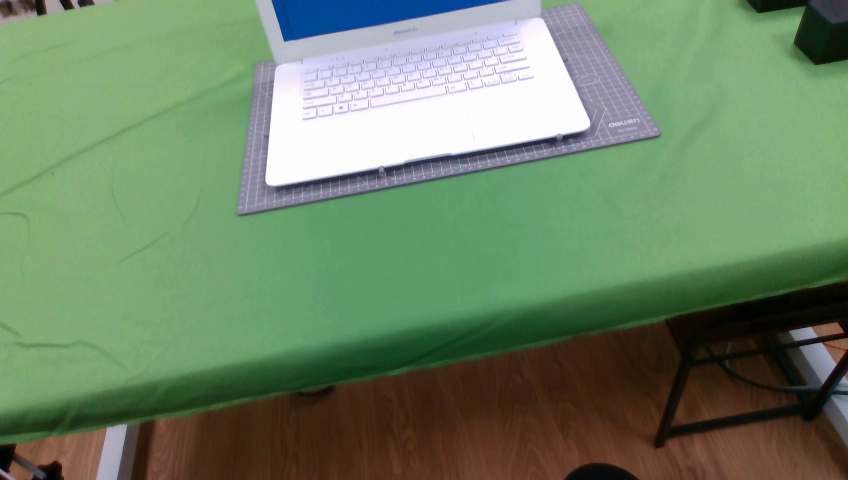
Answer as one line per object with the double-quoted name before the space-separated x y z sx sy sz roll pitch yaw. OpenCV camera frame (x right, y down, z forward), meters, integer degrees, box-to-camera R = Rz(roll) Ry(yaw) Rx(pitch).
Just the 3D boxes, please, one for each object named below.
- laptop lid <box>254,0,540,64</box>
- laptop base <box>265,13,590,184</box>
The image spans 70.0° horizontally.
"laptop lid" -0.040 -0.347 0.718 0.357 0.244 0.013 -11 40 3
"laptop base" -0.008 -0.171 0.716 0.354 0.023 0.233 -10 51 1
